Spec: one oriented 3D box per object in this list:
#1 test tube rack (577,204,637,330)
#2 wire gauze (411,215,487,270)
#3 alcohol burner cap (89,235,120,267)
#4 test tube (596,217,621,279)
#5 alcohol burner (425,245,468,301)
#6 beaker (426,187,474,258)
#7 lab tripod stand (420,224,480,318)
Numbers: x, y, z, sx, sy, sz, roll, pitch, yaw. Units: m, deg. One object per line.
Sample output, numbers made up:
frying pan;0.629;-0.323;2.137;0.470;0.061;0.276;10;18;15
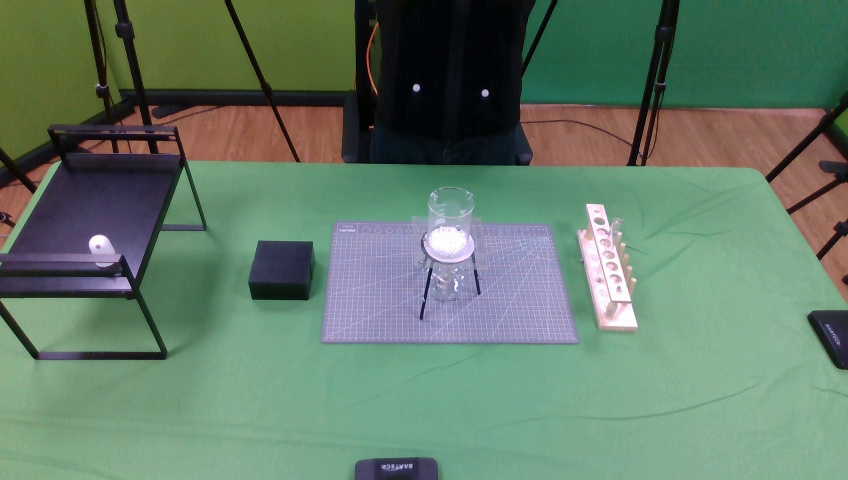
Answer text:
test tube rack;0.349;0.045;1.139;0.067;0.085;0.241;2;46;-2
wire gauze;0.041;0.003;1.026;0.125;0.011;0.120;0;46;-1
alcohol burner cap;-0.469;0.013;0.885;0.034;0.048;0.033;1;47;-1
test tube;0.331;0.018;1.094;0.017;0.151;0.017;0;45;0
alcohol burner;0.040;0.053;1.083;0.078;0.120;0.077;1;47;-1
beaker;0.043;-0.027;0.989;0.084;0.101;0.073;-26;53;-26
lab tripod stand;0.034;0.052;1.071;0.148;0.132;0.147;3;48;-3
